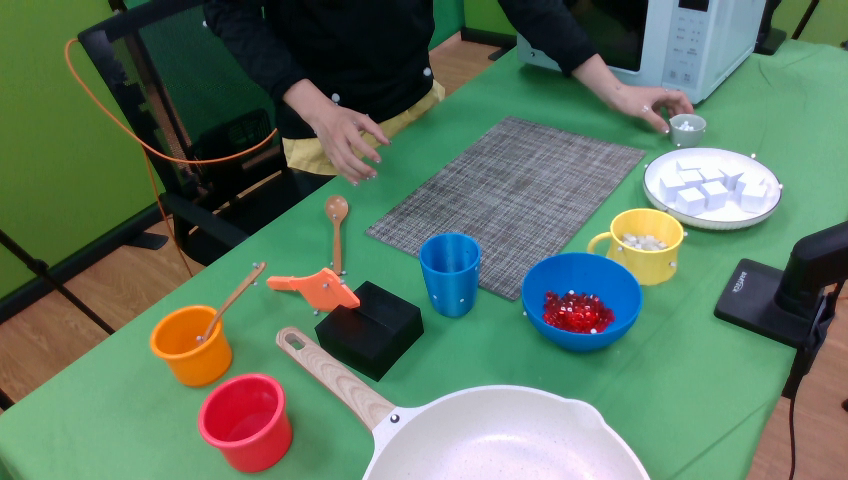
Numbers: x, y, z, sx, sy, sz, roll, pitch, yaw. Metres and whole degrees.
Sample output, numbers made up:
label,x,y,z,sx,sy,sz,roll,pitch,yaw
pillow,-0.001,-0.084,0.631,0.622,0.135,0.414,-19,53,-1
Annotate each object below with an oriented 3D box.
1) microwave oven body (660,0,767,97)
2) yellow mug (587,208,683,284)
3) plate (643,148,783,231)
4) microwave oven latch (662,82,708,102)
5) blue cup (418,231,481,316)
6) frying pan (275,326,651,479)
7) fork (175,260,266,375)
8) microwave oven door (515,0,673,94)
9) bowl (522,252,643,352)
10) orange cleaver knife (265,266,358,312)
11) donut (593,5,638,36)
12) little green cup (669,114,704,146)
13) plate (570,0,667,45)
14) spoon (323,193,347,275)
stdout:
label,x,y,z,sx,sy,sz,roll,pitch,yaw
microwave oven body,0.473,-0.516,1.314,0.438,0.261,0.327,26,51,34
yellow mug,0.305,0.009,0.884,0.131,0.064,0.099,-4,40,5
plate,0.464,-0.080,0.986,0.207,0.039,0.206,-4,40,4
microwave oven latch,0.517,-0.298,1.202,0.078,0.029,0.030,27,52,34
blue cup,0.039,0.053,0.843,0.092,0.100,0.092,-4,43,4
frying pan,0.004,0.229,0.641,0.484,0.103,0.308,34,54,28
fork,-0.268,0.102,0.792,0.207,0.019,0.028,-51,40,16
microwave oven door,0.344,-0.458,1.256,0.353,0.245,0.039,26,51,33
bowl,0.204,0.093,0.792,0.151,0.077,0.150,-4,40,4
orange cleaver knife,-0.164,0.073,0.864,0.210,0.077,0.012,-6,31,50
donut,0.428,-0.491,1.353,0.099,0.048,0.098,-5,42,5
little green cup,0.485,-0.203,1.123,0.061,0.039,0.061,-5,39,5
plate,0.436,-0.489,1.368,0.209,0.038,0.208,-5,40,5
spoon,-0.148,-0.014,1.008,0.042,0.022,0.192,1,40,-9
